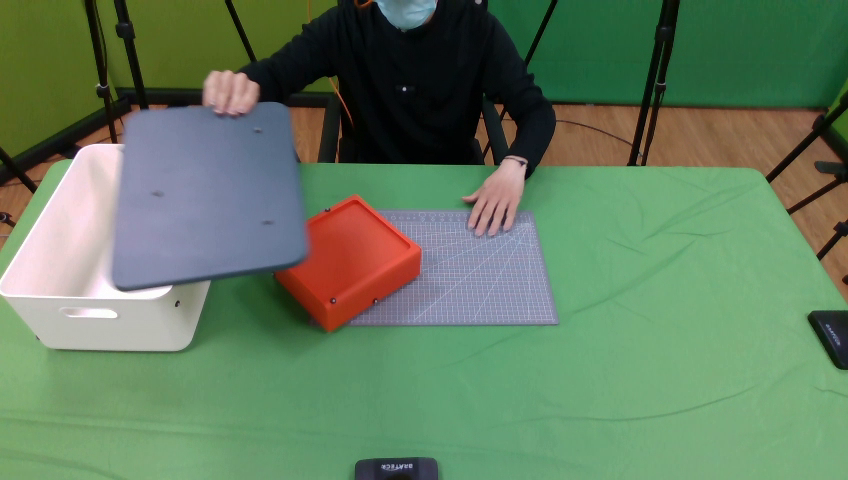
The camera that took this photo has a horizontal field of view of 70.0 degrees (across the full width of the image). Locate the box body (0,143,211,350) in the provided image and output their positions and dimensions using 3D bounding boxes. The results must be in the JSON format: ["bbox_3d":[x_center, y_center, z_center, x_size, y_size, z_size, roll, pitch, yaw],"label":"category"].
[{"bbox_3d":[-0.502,0.007,1.055,0.254,0.161,0.361,1,46,-3],"label":"box body"}]

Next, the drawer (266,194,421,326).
[{"bbox_3d":[-0.147,0.031,1.113,0.212,0.073,0.193,-33,57,-29],"label":"drawer"}]

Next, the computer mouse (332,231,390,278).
[{"bbox_3d":[-0.120,0.022,1.142,0.063,0.041,0.116,-35,51,-27],"label":"computer mouse"}]

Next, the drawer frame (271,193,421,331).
[{"bbox_3d":[-0.148,0.033,1.109,0.213,0.083,0.200,-33,57,-29],"label":"drawer frame"}]

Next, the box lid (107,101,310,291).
[{"bbox_3d":[-0.319,-0.087,0.912,0.263,0.015,0.369,-8,50,-10],"label":"box lid"}]
